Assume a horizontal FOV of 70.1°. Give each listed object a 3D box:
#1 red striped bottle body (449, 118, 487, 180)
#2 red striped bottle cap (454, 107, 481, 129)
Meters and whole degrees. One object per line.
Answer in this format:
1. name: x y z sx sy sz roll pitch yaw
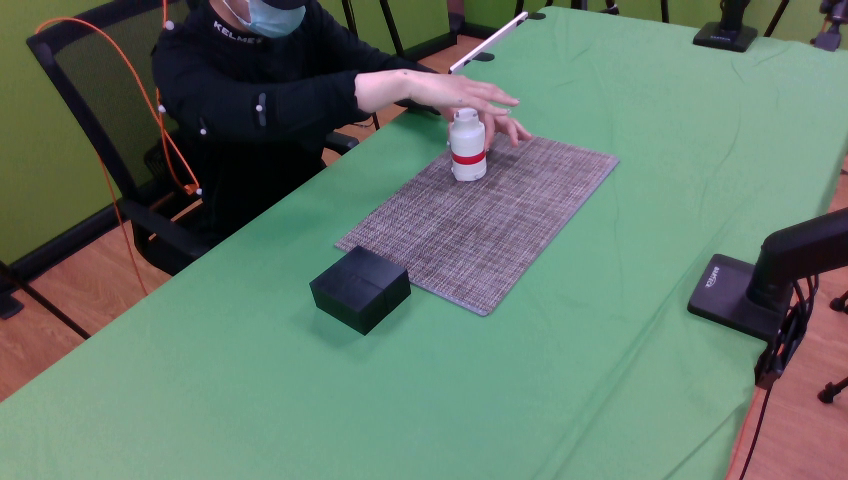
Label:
1. red striped bottle body: 0.078 -0.170 1.072 0.063 0.120 0.062 -4 43 5
2. red striped bottle cap: 0.074 -0.210 1.037 0.044 0.018 0.044 -8 44 9
